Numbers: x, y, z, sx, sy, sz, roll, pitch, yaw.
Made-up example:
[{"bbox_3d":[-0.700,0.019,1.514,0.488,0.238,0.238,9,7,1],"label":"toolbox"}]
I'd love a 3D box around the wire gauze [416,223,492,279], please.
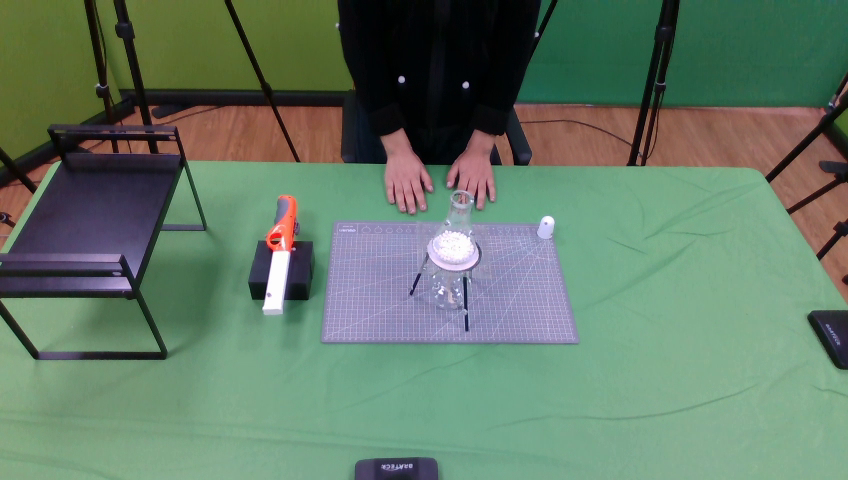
[{"bbox_3d":[0.048,0.016,1.014,0.125,0.011,0.120,1,45,-1],"label":"wire gauze"}]

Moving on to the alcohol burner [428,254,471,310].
[{"bbox_3d":[0.046,0.068,1.069,0.078,0.119,0.077,3,45,-3],"label":"alcohol burner"}]

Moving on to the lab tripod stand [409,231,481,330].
[{"bbox_3d":[0.051,0.064,1.060,0.148,0.132,0.147,4,46,-4],"label":"lab tripod stand"}]

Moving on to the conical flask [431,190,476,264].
[{"bbox_3d":[0.052,-0.025,0.971,0.075,0.122,0.075,3,48,-3],"label":"conical flask"}]

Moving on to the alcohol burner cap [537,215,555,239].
[{"bbox_3d":[0.249,-0.029,1.228,0.034,0.048,0.033,2,48,-2],"label":"alcohol burner cap"}]

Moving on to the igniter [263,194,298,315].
[{"bbox_3d":[-0.259,0.016,1.093,0.057,0.025,0.274,-3,49,-2],"label":"igniter"}]
